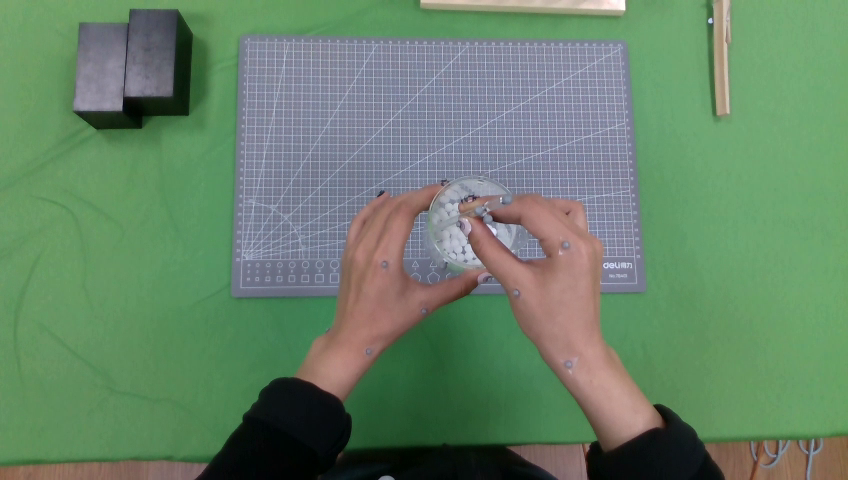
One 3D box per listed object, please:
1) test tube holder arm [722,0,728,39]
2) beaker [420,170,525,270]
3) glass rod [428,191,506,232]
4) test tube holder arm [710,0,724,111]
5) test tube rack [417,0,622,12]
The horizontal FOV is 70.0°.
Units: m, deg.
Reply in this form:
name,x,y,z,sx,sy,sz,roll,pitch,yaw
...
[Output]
name,x,y,z,sx,sy,sz,roll,pitch,yaw
test tube holder arm,0.357,-0.282,0.729,0.010,0.015,0.087,11,79,-31
beaker,0.037,-0.011,0.514,0.084,0.100,0.074,18,83,-2
glass rod,0.025,-0.017,0.448,0.008,0.199,0.008,1,85,-12
test tube holder arm,0.348,-0.239,0.718,0.013,0.015,0.177,11,79,-31
test tube rack,0.115,-0.315,0.685,0.242,0.085,0.066,1,80,-3
